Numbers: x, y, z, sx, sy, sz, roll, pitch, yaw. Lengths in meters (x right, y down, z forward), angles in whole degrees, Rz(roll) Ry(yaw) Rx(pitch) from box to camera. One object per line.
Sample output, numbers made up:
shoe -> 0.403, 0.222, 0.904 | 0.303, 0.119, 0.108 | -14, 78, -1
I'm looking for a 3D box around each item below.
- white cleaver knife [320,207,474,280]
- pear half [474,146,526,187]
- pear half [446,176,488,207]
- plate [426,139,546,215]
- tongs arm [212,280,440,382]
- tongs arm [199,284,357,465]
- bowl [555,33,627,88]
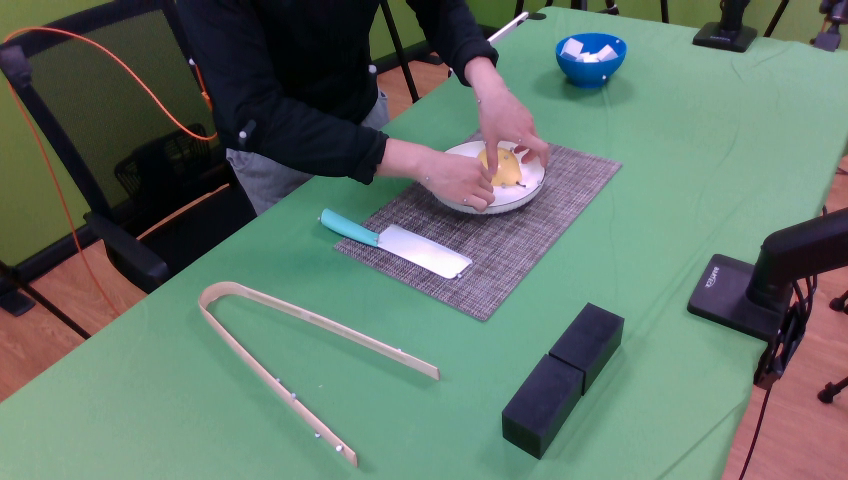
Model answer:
white cleaver knife -> -0.052, 0.000, 0.977 | 0.284, 0.021, 0.066 | 24, 44, 26
pear half -> 0.140, -0.128, 1.059 | 0.076, 0.056, 0.109 | -37, 52, -25
pear half -> 0.074, -0.087, 1.032 | 0.070, 0.031, 0.087 | -19, 36, -8
plate -> 0.109, -0.107, 1.059 | 0.207, 0.039, 0.206 | -4, 41, 4
tongs arm -> -0.148, 0.121, 0.846 | 0.385, 0.028, 0.028 | 17, 48, 25
tongs arm -> -0.199, 0.162, 0.797 | 0.381, 0.026, 0.051 | 28, 50, 35
bowl -> 0.360, -0.384, 1.318 | 0.151, 0.077, 0.150 | -4, 41, 4
